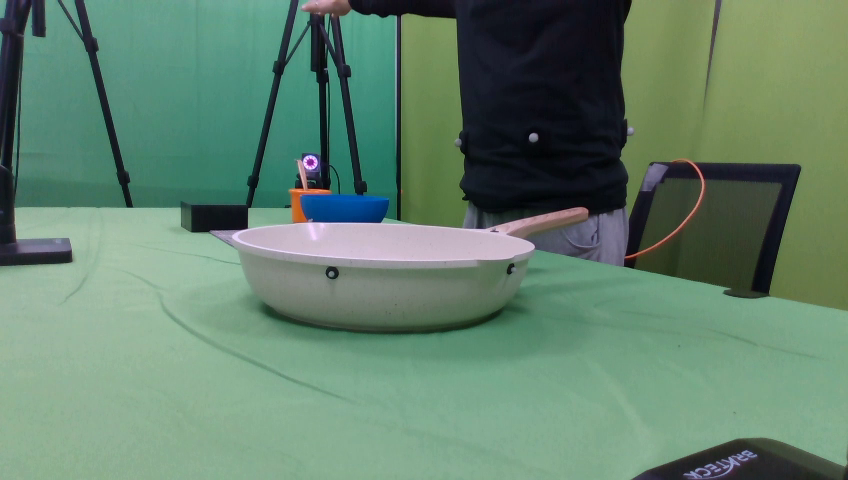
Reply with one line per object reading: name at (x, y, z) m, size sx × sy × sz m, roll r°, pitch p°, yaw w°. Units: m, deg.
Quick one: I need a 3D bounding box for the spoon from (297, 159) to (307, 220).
spoon at (-0.264, -0.114, 1.338) m, size 0.042 × 0.193 × 0.021 m, roll 0°, pitch -37°, yaw -21°

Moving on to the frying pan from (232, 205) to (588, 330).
frying pan at (0.039, 0.005, 0.670) m, size 0.490 × 0.102 × 0.305 m, roll -15°, pitch 17°, yaw -40°

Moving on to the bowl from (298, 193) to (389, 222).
bowl at (-0.136, -0.037, 1.018) m, size 0.151 × 0.077 × 0.151 m, roll 2°, pitch 7°, yaw 0°
